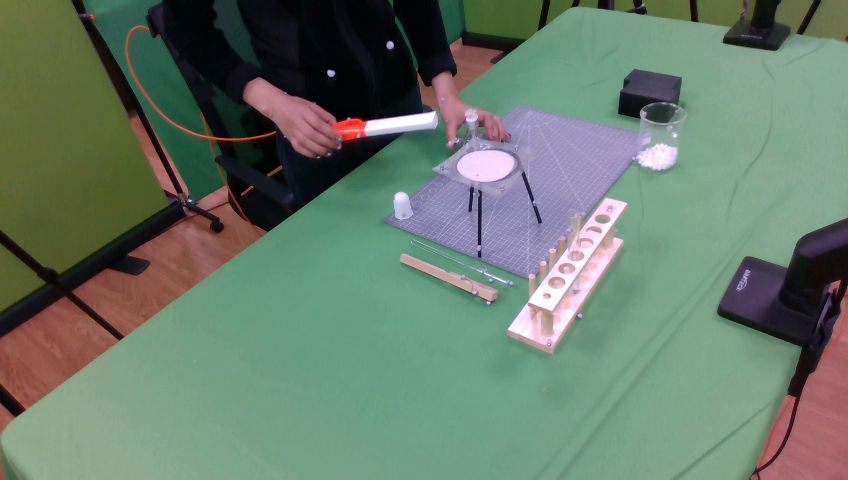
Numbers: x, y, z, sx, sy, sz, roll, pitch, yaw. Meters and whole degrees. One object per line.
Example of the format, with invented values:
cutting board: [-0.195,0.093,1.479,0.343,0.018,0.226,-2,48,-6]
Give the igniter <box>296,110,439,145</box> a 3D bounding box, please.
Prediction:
igniter: [-0.106,-0.197,1.061,0.275,0.025,0.057,-3,46,20]

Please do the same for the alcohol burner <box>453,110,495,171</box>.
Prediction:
alcohol burner: [0.091,-0.187,1.112,0.078,0.119,0.077,-4,41,4]

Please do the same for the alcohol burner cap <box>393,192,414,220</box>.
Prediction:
alcohol burner cap: [-0.038,-0.061,1.043,0.034,0.048,0.033,-6,41,5]

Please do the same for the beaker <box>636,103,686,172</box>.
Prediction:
beaker: [0.413,-0.177,1.055,0.084,0.101,0.073,-28,44,-21]

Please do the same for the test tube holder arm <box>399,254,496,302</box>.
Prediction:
test tube holder arm: [0.032,0.055,0.914,0.177,0.015,0.013,21,15,32]

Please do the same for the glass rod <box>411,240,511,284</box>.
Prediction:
glass rod: [0.053,0.033,0.946,0.198,0.008,0.008,22,50,36]

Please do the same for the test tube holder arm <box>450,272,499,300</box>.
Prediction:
test tube holder arm: [0.071,0.068,0.895,0.087,0.015,0.010,21,15,32]

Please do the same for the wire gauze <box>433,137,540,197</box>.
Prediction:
wire gauze: [0.094,-0.116,0.907,0.124,0.011,0.122,21,47,30]

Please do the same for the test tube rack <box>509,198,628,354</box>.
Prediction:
test tube rack: [0.206,0.039,0.850,0.066,0.085,0.243,20,48,31]

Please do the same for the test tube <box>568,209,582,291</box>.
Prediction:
test tube: [0.200,0.017,0.799,0.017,0.151,0.017,-8,45,8]

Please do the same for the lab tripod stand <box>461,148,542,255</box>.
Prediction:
lab tripod stand: [0.114,-0.069,0.953,0.148,0.132,0.147,-5,38,4]
